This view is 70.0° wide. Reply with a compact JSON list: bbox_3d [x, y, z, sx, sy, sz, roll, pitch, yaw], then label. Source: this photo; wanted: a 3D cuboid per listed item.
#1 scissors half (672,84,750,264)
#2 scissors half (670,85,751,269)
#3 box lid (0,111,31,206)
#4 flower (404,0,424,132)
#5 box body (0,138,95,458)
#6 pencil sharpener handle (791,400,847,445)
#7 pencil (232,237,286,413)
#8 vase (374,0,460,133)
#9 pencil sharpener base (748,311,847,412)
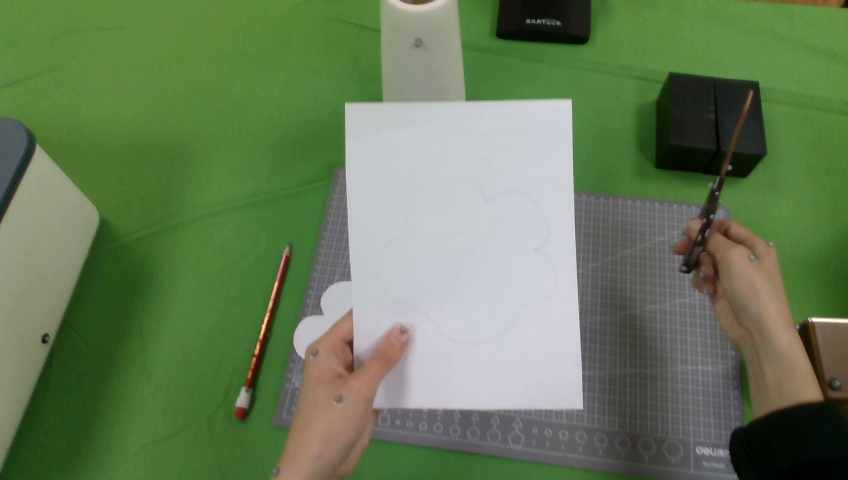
[{"bbox_3d":[0.252,-0.060,0.525,0.013,0.040,0.174,23,79,16],"label":"scissors half"},{"bbox_3d":[0.259,-0.056,0.544,0.012,0.040,0.175,23,96,21],"label":"scissors half"},{"bbox_3d":[-0.507,0.035,0.491,0.263,0.015,0.369,7,66,4],"label":"box lid"},{"bbox_3d":[-0.017,-0.252,0.581,0.044,0.365,0.038,0,48,5],"label":"flower"},{"bbox_3d":[-0.505,0.069,0.559,0.254,0.161,0.361,6,66,4],"label":"box body"},{"bbox_3d":[0.345,0.158,0.519,0.036,0.068,0.030,8,66,-10],"label":"pencil sharpener handle"},{"bbox_3d":[-0.168,0.082,0.631,0.012,0.012,0.192,7,64,5],"label":"pencil"},{"bbox_3d":[-0.009,-0.204,0.651,0.098,0.201,0.097,-1,64,2],"label":"vase"},{"bbox_3d":[0.352,0.117,0.551,0.061,0.108,0.076,2,66,2],"label":"pencil sharpener base"}]
